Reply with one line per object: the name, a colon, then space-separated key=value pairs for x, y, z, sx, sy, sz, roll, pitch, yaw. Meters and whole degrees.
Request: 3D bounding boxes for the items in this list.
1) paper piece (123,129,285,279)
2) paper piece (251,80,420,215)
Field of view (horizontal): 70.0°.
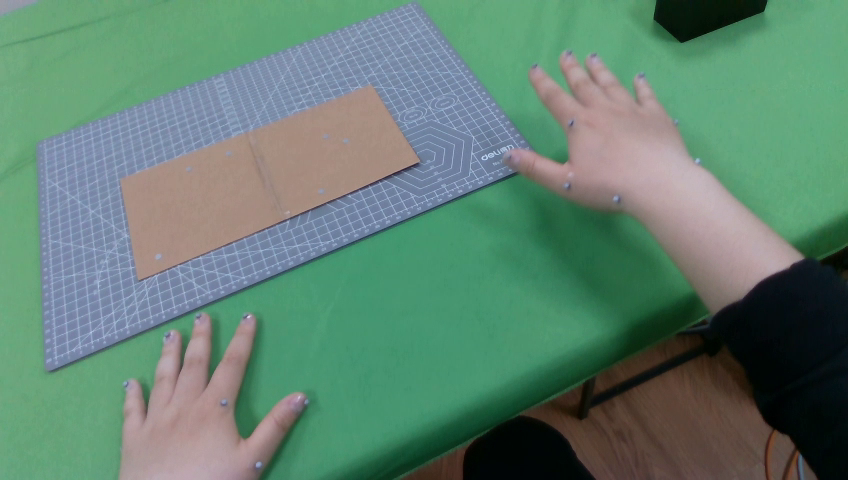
paper piece: x=-0.211 y=-0.041 z=0.571 sx=0.138 sy=0.009 sz=0.134 roll=-24 pitch=51 yaw=-7
paper piece: x=-0.090 y=-0.096 z=0.589 sx=0.135 sy=0.004 sz=0.134 roll=-25 pitch=53 yaw=-7
